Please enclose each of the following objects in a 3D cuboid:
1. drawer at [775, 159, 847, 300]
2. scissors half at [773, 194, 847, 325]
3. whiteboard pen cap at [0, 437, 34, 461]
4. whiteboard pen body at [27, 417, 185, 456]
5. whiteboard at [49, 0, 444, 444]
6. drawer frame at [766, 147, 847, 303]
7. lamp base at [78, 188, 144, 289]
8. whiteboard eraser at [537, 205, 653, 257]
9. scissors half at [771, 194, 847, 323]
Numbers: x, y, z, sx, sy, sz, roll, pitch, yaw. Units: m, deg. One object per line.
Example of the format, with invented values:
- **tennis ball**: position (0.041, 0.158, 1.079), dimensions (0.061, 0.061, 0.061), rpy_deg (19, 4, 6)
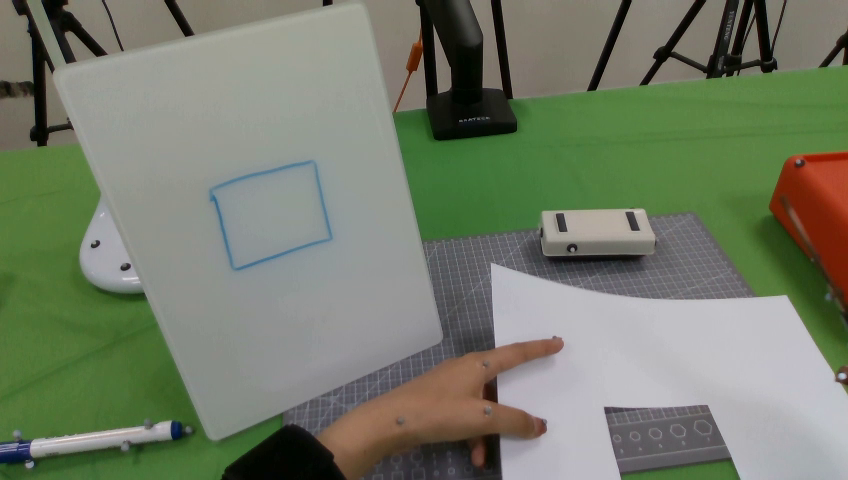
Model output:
- **drawer**: position (0.487, -0.001, 0.579), dimensions (0.194, 0.074, 0.209), rpy_deg (-5, 39, 0)
- **scissors half**: position (0.283, 0.045, 0.409), dimensions (0.013, 0.174, 0.040), rpy_deg (-31, -9, 22)
- **whiteboard pen cap**: position (-0.327, 0.167, 0.484), dimensions (0.033, 0.018, 0.018), rpy_deg (-4, 39, -11)
- **whiteboard pen body**: position (-0.269, 0.161, 0.492), dimensions (0.141, 0.017, 0.017), rpy_deg (-6, 40, -8)
- **whiteboard**: position (-0.135, -0.025, 0.528), dimensions (0.217, 0.307, 0.142), rpy_deg (-21, 24, -18)
- **drawer frame**: position (0.486, -0.006, 0.584), dimensions (0.202, 0.083, 0.211), rpy_deg (-6, 39, -1)
- **lamp base**: position (-0.318, -0.065, 0.641), dimensions (0.178, 0.182, 0.160), rpy_deg (21, 46, 30)
- **whiteboard eraser**: position (0.178, -0.008, 0.639), dimensions (0.112, 0.042, 0.055), rpy_deg (-2, 39, 3)
- **scissors half**: position (0.272, 0.043, 0.391), dimensions (0.013, 0.040, 0.173), rpy_deg (-33, 63, 27)
